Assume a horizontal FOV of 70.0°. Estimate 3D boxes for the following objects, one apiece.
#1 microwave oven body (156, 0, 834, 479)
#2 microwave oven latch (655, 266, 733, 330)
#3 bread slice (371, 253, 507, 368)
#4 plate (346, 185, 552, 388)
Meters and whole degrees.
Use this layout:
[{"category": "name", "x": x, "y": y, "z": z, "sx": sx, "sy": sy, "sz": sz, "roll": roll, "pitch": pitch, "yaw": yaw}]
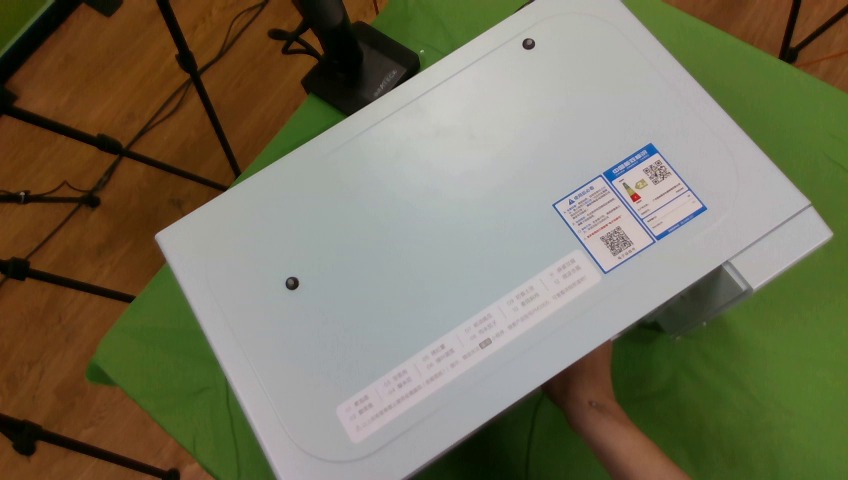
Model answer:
[{"category": "microwave oven body", "x": 0.048, "y": 0.014, "z": 0.586, "sx": 0.442, "sy": 0.262, "sz": 0.323, "roll": -33, "pitch": 73, "yaw": -3}, {"category": "microwave oven latch", "x": 0.287, "y": 0.063, "z": 0.645, "sx": 0.079, "sy": 0.030, "sz": 0.030, "roll": -32, "pitch": 72, "yaw": -3}, {"category": "bread slice", "x": 0.013, "y": 0.070, "z": 0.625, "sx": 0.134, "sy": 0.018, "sz": 0.106, "roll": 10, "pitch": 73, "yaw": -1}, {"category": "plate", "x": 0.026, "y": 0.047, "z": 0.625, "sx": 0.207, "sy": 0.039, "sz": 0.206, "roll": -1, "pitch": 75, "yaw": 2}]
